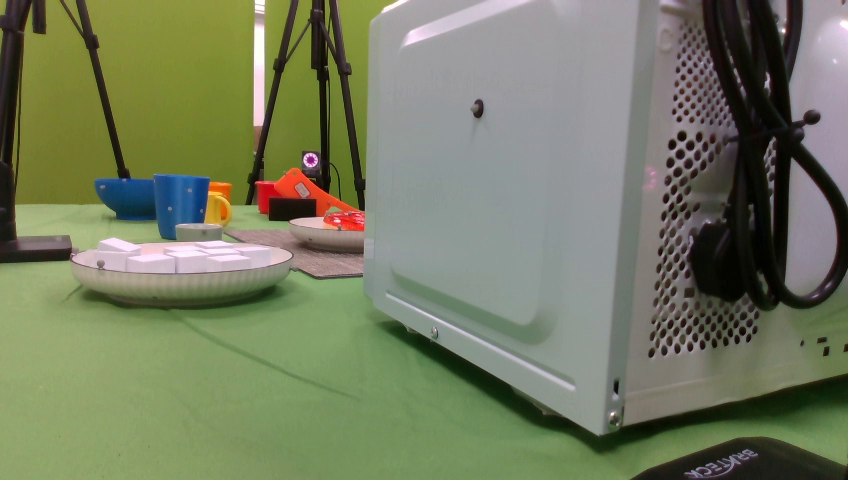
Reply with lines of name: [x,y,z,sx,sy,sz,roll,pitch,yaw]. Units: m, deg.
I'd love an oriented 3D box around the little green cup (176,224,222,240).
little green cup: [-0.312,-0.001,0.842,0.061,0.038,0.061,2,8,0]

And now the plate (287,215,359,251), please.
plate: [-0.112,-0.012,0.960,0.209,0.038,0.209,3,8,0]

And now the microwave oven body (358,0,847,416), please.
microwave oven body: [0.211,-0.047,0.474,0.444,0.260,0.324,-1,7,-28]

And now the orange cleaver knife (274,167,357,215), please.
orange cleaver knife: [-0.238,-0.091,1.381,0.212,0.077,0.012,31,0,-19]

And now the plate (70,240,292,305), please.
plate: [-0.242,0.031,0.618,0.208,0.039,0.207,2,8,0]

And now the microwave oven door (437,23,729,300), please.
microwave oven door: [0.181,-0.072,0.621,0.358,0.243,0.039,-2,8,-29]

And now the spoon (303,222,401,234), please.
spoon: [-0.127,-0.024,1.105,0.195,0.021,0.041,-3,-16,-31]

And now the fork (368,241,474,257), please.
fork: [0.004,0.012,0.885,0.208,0.018,0.028,-6,-4,-45]

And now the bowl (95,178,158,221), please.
bowl: [-0.576,-0.081,1.217,0.151,0.077,0.151,3,8,0]

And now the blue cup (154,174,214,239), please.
blue cup: [-0.390,-0.053,0.978,0.093,0.100,0.092,3,6,0]

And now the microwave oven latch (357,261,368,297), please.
microwave oven latch: [-0.019,0.033,0.531,0.079,0.029,0.030,-1,7,-27]

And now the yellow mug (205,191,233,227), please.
yellow mug: [-0.415,-0.057,1.132,0.130,0.064,0.100,6,8,16]

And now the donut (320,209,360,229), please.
donut: [-0.115,-0.023,0.961,0.099,0.048,0.099,5,9,0]
